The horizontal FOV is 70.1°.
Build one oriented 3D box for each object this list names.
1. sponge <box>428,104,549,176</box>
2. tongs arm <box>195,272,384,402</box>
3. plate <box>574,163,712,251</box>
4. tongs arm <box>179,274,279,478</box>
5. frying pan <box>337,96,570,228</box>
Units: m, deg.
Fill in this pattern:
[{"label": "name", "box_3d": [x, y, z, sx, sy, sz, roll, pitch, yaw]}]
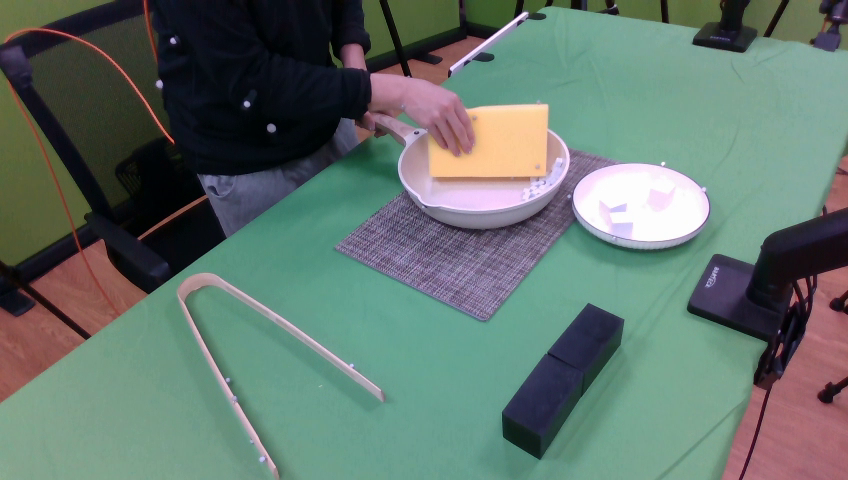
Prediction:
[{"label": "sponge", "box_3d": [0.113, -0.175, 1.061, 0.206, 0.118, 0.061, 0, 17, 8]}, {"label": "tongs arm", "box_3d": [-0.199, 0.125, 0.846, 0.384, 0.028, 0.028, 25, 53, 32]}, {"label": "plate", "box_3d": [0.344, -0.050, 0.966, 0.207, 0.039, 0.206, -4, 40, 4]}, {"label": "tongs arm", "box_3d": [-0.260, 0.161, 0.807, 0.051, 0.026, 0.381, -29, 44, -25]}, {"label": "frying pan", "box_3d": [0.023, -0.167, 1.090, 0.484, 0.103, 0.308, 32, 52, 26]}]
